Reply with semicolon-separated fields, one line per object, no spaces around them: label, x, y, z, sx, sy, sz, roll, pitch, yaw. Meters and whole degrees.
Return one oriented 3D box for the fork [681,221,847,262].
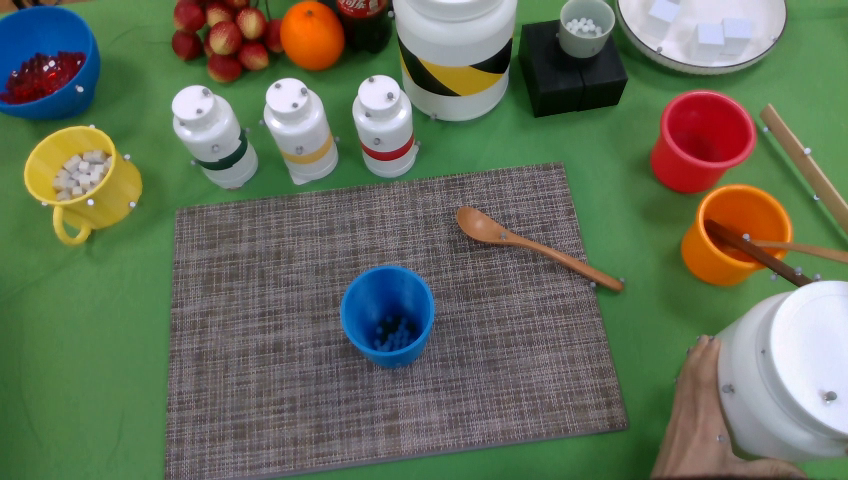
fork;0.342;0.006;0.580;0.028;0.019;0.205;-43;28;-19

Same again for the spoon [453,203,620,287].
spoon;0.119;0.007;0.651;0.193;0.022;0.041;23;44;10

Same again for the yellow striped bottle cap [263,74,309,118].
yellow striped bottle cap;-0.141;-0.147;0.619;0.044;0.019;0.044;0;68;1

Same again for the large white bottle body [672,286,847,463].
large white bottle body;0.304;0.116;0.514;0.130;0.186;0.129;-1;66;2

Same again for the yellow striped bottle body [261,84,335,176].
yellow striped bottle body;-0.139;-0.126;0.666;0.063;0.121;0.062;-1;66;3

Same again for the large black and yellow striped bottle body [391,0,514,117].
large black and yellow striped bottle body;0.031;-0.240;0.675;0.131;0.185;0.130;-1;67;2

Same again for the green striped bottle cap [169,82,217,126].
green striped bottle cap;-0.236;-0.139;0.618;0.044;0.020;0.044;0;66;1

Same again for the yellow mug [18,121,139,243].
yellow mug;-0.386;-0.060;0.674;0.100;0.064;0.130;3;67;1

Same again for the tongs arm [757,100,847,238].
tongs arm;0.480;0.000;0.639;0.051;0.027;0.381;-19;68;-8

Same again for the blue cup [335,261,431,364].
blue cup;-0.035;0.078;0.582;0.092;0.101;0.092;0;66;1

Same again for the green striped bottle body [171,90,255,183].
green striped bottle body;-0.233;-0.118;0.666;0.063;0.120;0.062;-1;66;2

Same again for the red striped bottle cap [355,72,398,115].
red striped bottle cap;-0.049;-0.150;0.616;0.044;0.018;0.044;1;65;-2

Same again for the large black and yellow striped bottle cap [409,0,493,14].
large black and yellow striped bottle cap;0.028;-0.273;0.597;0.115;0.019;0.114;-1;66;2

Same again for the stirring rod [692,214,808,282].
stirring rod;0.314;0.008;0.585;0.014;0.006;0.174;-12;24;-5

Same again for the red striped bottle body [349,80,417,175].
red striped bottle body;-0.045;-0.128;0.664;0.063;0.120;0.062;-2;65;6

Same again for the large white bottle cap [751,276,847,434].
large white bottle cap;0.299;0.080;0.437;0.115;0.018;0.114;-1;66;3

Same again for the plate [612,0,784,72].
plate;0.340;-0.294;0.767;0.209;0.038;0.207;0;67;1

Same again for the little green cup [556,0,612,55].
little green cup;0.181;-0.246;0.697;0.061;0.039;0.061;0;65;1

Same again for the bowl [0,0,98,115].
bowl;-0.460;-0.205;0.732;0.151;0.077;0.150;0;67;1
